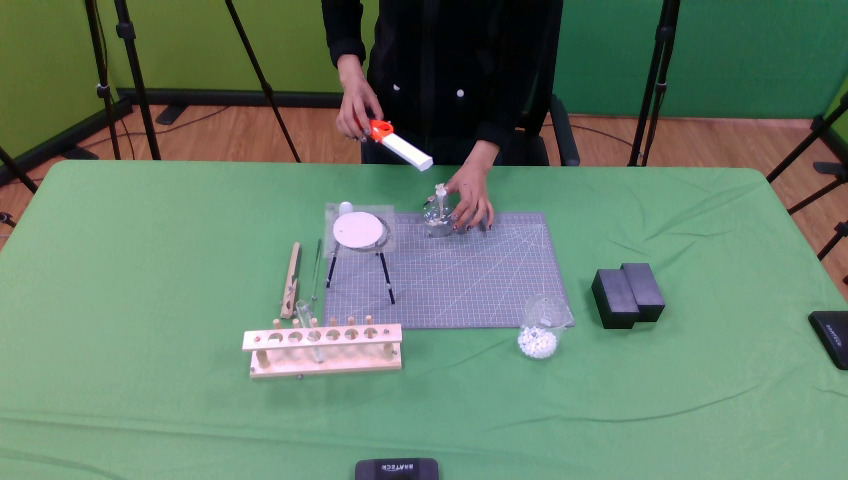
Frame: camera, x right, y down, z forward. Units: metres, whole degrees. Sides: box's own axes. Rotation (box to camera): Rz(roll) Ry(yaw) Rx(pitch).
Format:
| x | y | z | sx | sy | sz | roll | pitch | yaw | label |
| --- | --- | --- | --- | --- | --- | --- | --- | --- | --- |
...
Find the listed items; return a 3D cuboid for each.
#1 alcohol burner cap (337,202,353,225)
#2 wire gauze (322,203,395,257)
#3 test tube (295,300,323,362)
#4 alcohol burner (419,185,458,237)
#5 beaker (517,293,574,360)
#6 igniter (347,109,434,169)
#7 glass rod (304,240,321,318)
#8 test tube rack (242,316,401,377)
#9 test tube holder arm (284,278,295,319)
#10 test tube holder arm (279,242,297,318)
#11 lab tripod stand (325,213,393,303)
| x | y | z | sx | sy | sz | roll | pitch | yaw | label |
| --- | --- | --- | --- | --- | --- | --- | --- | --- | --- |
| -0.161 | -0.056 | 1.223 | 0.034 | 0.048 | 0.033 | 2 | 46 | -1 | alcohol burner cap |
| -0.111 | -0.020 | 1.035 | 0.121 | 0.011 | 0.124 | 0 | 47 | -7 | wire gauze |
| -0.176 | 0.143 | 0.935 | 0.017 | 0.151 | 0.017 | -2 | 46 | 2 | test tube |
| 0.030 | -0.064 | 1.196 | 0.078 | 0.119 | 0.077 | 3 | 48 | -3 | alcohol burner |
| 0.200 | 0.149 | 1.018 | 0.084 | 0.101 | 0.073 | 14 | 47 | 8 | beaker |
| -0.075 | -0.206 | 1.204 | 0.057 | 0.025 | 0.275 | -33 | 46 | -21 | igniter |
| -0.207 | 0.068 | 1.128 | 0.008 | 0.008 | 0.198 | 2 | 43 | -2 | glass rod |
| -0.161 | 0.166 | 0.983 | 0.242 | 0.085 | 0.066 | -2 | 46 | -6 | test tube rack |
| -0.241 | 0.103 | 1.085 | 0.010 | 0.015 | 0.087 | 26 | 38 | -27 | test tube holder arm |
| -0.249 | 0.069 | 1.114 | 0.013 | 0.015 | 0.177 | 25 | 38 | -28 | test tube holder arm |
| -0.104 | 0.031 | 1.080 | 0.148 | 0.132 | 0.147 | 4 | 45 | -4 | lab tripod stand |
